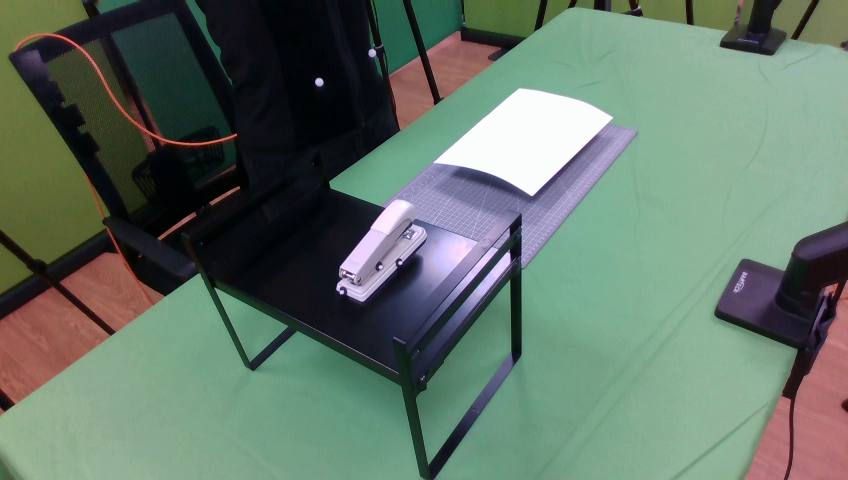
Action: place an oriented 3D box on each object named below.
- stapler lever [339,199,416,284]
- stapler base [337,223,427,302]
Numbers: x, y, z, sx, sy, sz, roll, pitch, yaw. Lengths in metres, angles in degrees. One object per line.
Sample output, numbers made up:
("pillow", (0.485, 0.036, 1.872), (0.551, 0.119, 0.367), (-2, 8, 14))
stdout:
("stapler lever", (-0.050, -0.002, 0.668), (0.026, 0.040, 0.118), (18, 47, 31))
("stapler base", (-0.046, 0.016, 0.685), (0.041, 0.024, 0.131), (18, 48, 31))
